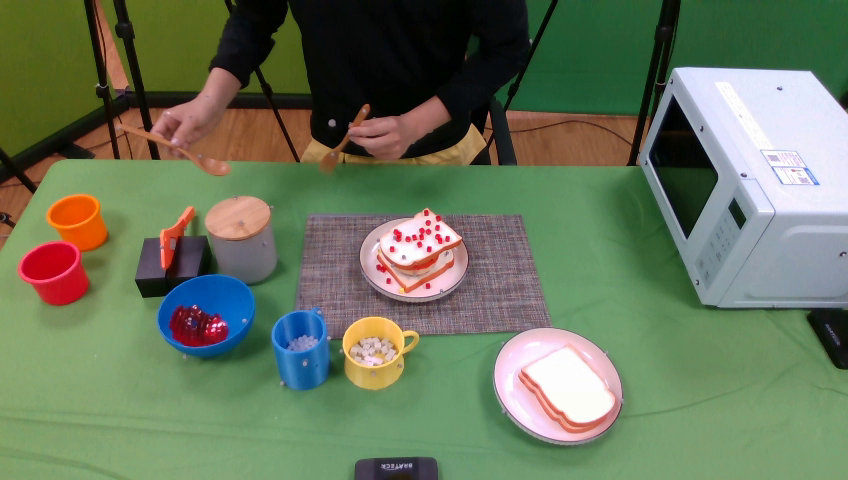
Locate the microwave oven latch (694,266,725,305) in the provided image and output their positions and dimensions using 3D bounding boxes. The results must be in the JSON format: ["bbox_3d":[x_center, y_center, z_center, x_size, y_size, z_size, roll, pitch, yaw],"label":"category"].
[{"bbox_3d":[0.523,0.082,1.115,0.030,0.029,0.078,3,46,0],"label":"microwave oven latch"}]

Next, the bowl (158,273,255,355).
[{"bbox_3d":[-0.351,0.136,1.001,0.151,0.077,0.150,2,46,-2],"label":"bowl"}]

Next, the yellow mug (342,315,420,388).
[{"bbox_3d":[-0.068,0.177,0.990,0.131,0.064,0.099,-15,50,-19],"label":"yellow mug"}]

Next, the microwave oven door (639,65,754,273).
[{"bbox_3d":[0.522,-0.147,1.193,0.039,0.245,0.353,0,47,-3],"label":"microwave oven door"}]

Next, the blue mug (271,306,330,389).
[{"bbox_3d":[-0.188,0.163,0.969,0.082,0.106,0.116,15,47,10],"label":"blue mug"}]

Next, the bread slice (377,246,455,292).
[{"bbox_3d":[-0.010,0.034,1.150,0.131,0.019,0.104,-29,56,-23],"label":"bread slice"}]

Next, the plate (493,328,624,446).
[{"bbox_3d":[0.213,0.236,0.974,0.208,0.039,0.206,2,46,-2],"label":"plate"}]

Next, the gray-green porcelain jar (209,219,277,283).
[{"bbox_3d":[-0.323,0.007,1.092,0.106,0.127,0.105,2,46,-2],"label":"gray-green porcelain jar"}]

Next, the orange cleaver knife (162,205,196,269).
[{"bbox_3d":[-0.454,-0.010,1.129,0.012,0.077,0.210,-1,20,-5],"label":"orange cleaver knife"}]

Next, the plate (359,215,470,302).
[{"bbox_3d":[-0.019,0.038,1.140,0.209,0.038,0.208,2,46,-2],"label":"plate"}]

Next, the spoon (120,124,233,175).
[{"bbox_3d":[-0.431,-0.161,1.064,0.194,0.021,0.041,26,41,-27],"label":"spoon"}]

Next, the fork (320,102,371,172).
[{"bbox_3d":[-0.144,-0.184,1.106,0.028,0.207,0.018,21,55,-22],"label":"fork"}]

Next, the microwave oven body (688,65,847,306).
[{"bbox_3d":[0.669,-0.111,1.176,0.326,0.261,0.439,0,46,-3],"label":"microwave oven body"}]

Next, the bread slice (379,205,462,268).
[{"bbox_3d":[-0.012,-0.001,1.097,0.134,0.018,0.106,-33,51,-23],"label":"bread slice"}]

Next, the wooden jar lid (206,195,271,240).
[{"bbox_3d":[-0.319,-0.036,1.046,0.108,0.021,0.107,1,44,0],"label":"wooden jar lid"}]
